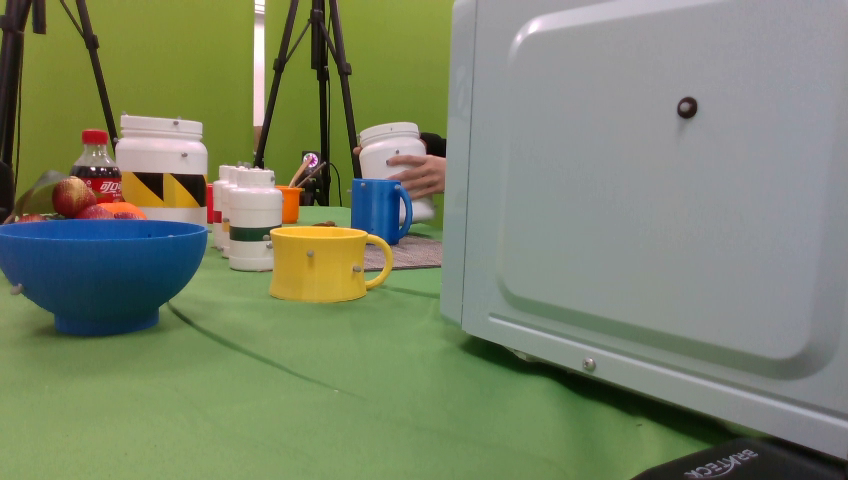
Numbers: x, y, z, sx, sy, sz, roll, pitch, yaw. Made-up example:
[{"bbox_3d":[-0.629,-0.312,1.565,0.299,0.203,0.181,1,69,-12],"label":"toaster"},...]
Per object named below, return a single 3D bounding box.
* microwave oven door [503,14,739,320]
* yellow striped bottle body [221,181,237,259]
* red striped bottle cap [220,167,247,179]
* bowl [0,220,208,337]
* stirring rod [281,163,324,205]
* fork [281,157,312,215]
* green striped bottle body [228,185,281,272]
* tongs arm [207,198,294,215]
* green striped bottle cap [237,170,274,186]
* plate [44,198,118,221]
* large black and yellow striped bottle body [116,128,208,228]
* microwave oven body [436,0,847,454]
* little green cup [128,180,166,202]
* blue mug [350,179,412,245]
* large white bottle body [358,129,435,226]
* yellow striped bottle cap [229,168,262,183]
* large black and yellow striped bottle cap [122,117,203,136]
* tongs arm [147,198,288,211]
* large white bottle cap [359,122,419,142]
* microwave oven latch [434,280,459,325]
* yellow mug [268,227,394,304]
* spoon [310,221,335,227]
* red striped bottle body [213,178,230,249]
[{"bbox_3d":[0.217,-0.065,0.600,0.358,0.243,0.039,-4,10,-41],"label":"microwave oven door"},{"bbox_3d":[-0.244,-0.035,0.823,0.063,0.120,0.063,3,8,0],"label":"yellow striped bottle body"},{"bbox_3d":[-0.281,-0.100,0.901,0.044,0.017,0.044,-1,4,0],"label":"red striped bottle cap"},{"bbox_3d":[-0.251,0.029,0.479,0.151,0.077,0.151,2,7,0],"label":"bowl"},{"bbox_3d":[-0.278,-0.105,1.293,0.176,0.006,0.014,-47,24,-19],"label":"stirring rod"},{"bbox_3d":[-0.289,-0.116,1.321,0.028,0.019,0.207,6,51,19],"label":"fork"},{"bbox_3d":[-0.208,-0.023,0.745,0.063,0.119,0.063,2,7,0],"label":"green striped bottle body"},{"bbox_3d":[-0.423,-0.084,1.473,0.050,0.026,0.386,1,6,22],"label":"tongs arm"},{"bbox_3d":[-0.206,-0.075,0.737,0.044,0.020,0.044,2,5,0],"label":"green striped bottle cap"},{"bbox_3d":[-0.617,-0.056,1.179,0.209,0.038,0.209,3,7,0],"label":"plate"},{"bbox_3d":[-0.404,-0.089,0.937,0.131,0.184,0.130,3,7,0],"label":"large black and yellow striped bottle body"},{"bbox_3d":[0.279,-0.040,0.464,0.444,0.260,0.324,-3,9,-41],"label":"microwave oven body"},{"bbox_3d":[-0.485,-0.087,1.062,0.061,0.038,0.061,-1,6,0],"label":"little green cup"},{"bbox_3d":[-0.068,-0.046,1.000,0.116,0.106,0.083,8,9,32],"label":"blue mug"},{"bbox_3d":[-0.055,-0.121,1.162,0.131,0.184,0.130,-9,-1,0],"label":"large white bottle body"},{"bbox_3d":[-0.240,-0.087,0.816,0.044,0.018,0.044,-3,5,1],"label":"yellow striped bottle cap"},{"bbox_3d":[-0.399,-0.174,0.927,0.115,0.019,0.115,5,9,-1],"label":"large black and yellow striped bottle cap"},{"bbox_3d":[-0.503,-0.090,1.513,0.028,0.028,0.389,-1,4,38],"label":"tongs arm"},{"bbox_3d":[-0.068,-0.205,1.162,0.115,0.018,0.115,-9,-2,0],"label":"large white bottle cap"},{"bbox_3d":[0.044,0.045,0.470,0.079,0.029,0.030,-2,8,-39],"label":"microwave oven latch"},{"bbox_3d":[-0.094,0.023,0.630,0.131,0.064,0.099,0,8,-22],"label":"yellow mug"},{"bbox_3d":[-0.185,-0.027,1.131,0.041,0.021,0.193,-19,6,2],"label":"spoon"},{"bbox_3d":[-0.284,-0.048,0.909,0.063,0.119,0.063,3,10,0],"label":"red striped bottle body"}]
